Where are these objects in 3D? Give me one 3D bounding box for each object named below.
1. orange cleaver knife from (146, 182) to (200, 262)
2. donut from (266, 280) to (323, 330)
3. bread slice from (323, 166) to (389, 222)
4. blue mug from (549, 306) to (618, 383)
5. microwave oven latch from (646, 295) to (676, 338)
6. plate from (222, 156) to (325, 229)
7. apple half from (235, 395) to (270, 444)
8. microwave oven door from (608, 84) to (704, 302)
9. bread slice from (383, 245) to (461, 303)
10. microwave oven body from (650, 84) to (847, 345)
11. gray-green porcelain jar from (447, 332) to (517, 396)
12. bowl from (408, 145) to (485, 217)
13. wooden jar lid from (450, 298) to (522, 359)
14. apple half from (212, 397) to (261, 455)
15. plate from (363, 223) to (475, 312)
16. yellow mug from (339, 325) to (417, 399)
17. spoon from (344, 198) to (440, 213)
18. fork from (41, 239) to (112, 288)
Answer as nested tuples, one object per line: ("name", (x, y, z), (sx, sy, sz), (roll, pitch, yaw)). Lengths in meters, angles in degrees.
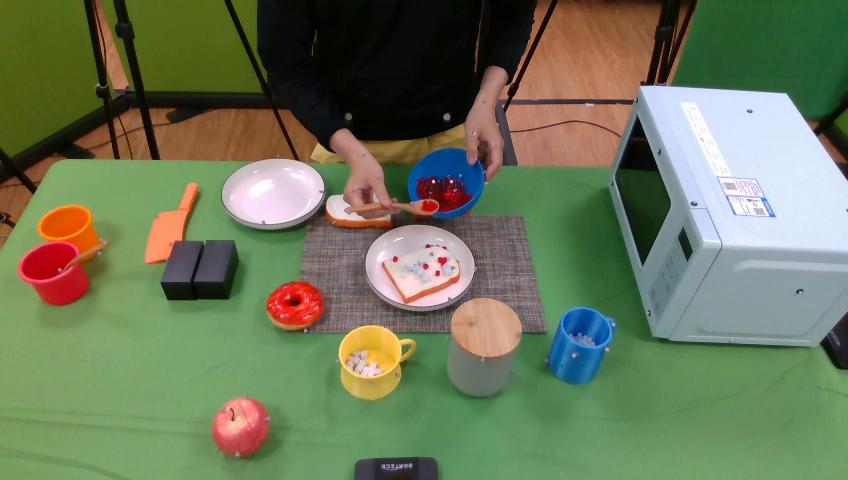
("orange cleaver knife", (-0.494, -0.039, 1.198), (0.077, 0.012, 0.210), (-3, 48, 2))
("donut", (-0.223, 0.113, 1.051), (0.099, 0.048, 0.098), (2, 45, -2))
("bread slice", (-0.140, -0.092, 1.224), (0.134, 0.018, 0.106), (-19, 51, 6))
("blue mug", (0.269, 0.167, 0.997), (0.116, 0.106, 0.082), (-19, 51, -21))
("microwave oven latch", (0.413, 0.133, 1.060), (0.030, 0.029, 0.078), (4, 46, 1))
("plate", (-0.308, -0.095, 1.251), (0.209, 0.038, 0.208), (3, 47, -3))
("apple half", (-0.245, 0.260, 0.893), (0.033, 0.082, 0.081), (-29, 55, -22))
("microwave oven door", (0.424, -0.096, 1.138), (0.039, 0.245, 0.353), (2, 46, -1))
("bread slice", (0.001, 0.055, 1.129), (0.131, 0.019, 0.104), (-22, 52, -19))
("microwave oven body", (0.569, -0.054, 1.115), (0.326, 0.261, 0.439), (2, 46, -1))
("gray-green porcelain jar", (0.091, 0.178, 0.960), (0.106, 0.127, 0.105), (2, 46, -2))
("bowl", (0.051, -0.100, 1.175), (0.151, 0.077, 0.150), (-7, 61, 13))
("wooden jar lid", (0.093, 0.135, 0.914), (0.108, 0.021, 0.107), (3, 48, -3))
("apple half", (-0.276, 0.276, 0.877), (0.053, 0.075, 0.080), (-29, 58, -21))
("plate", (-0.009, 0.054, 1.126), (0.208, 0.039, 0.206), (2, 46, -2))
("yellow mug", (-0.072, 0.190, 0.978), (0.131, 0.064, 0.099), (-17, 50, -20))
("spoon", (-0.053, -0.060, 1.045), (0.194, 0.022, 0.041), (-2, 41, -38))
("fork", (-0.591, 0.040, 1.028), (0.207, 0.019, 0.028), (-27, 37, 29))
